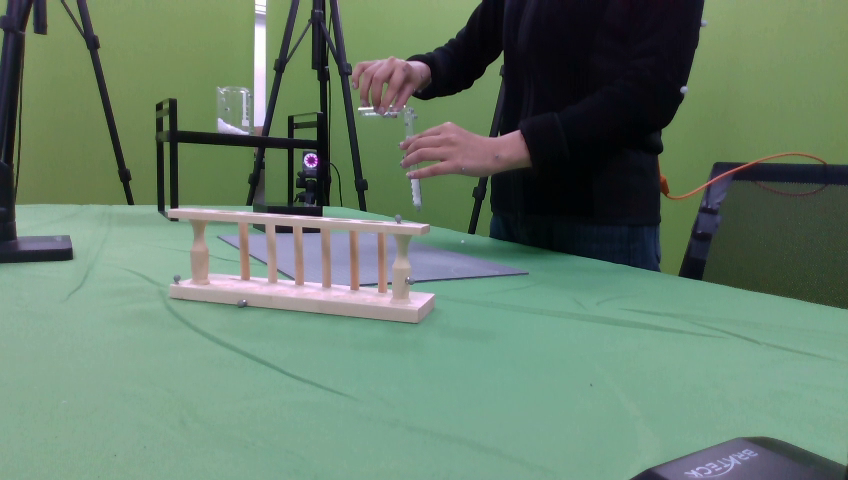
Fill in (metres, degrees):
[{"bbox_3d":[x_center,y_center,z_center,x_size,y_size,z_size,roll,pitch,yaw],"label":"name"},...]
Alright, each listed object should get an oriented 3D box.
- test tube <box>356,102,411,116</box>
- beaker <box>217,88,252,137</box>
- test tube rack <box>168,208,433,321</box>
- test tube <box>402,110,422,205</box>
[{"bbox_3d":[-0.070,-0.215,0.998,0.017,0.017,0.149,-4,9,-37],"label":"test tube"},{"bbox_3d":[-0.412,-0.276,1.310,0.074,0.100,0.084,4,8,16],"label":"beaker"},{"bbox_3d":[-0.116,0.017,0.574,0.242,0.085,0.067,4,8,13],"label":"test tube rack"},{"bbox_3d":[-0.019,-0.126,0.923,0.017,0.150,0.017,-6,-9,-1],"label":"test tube"}]
